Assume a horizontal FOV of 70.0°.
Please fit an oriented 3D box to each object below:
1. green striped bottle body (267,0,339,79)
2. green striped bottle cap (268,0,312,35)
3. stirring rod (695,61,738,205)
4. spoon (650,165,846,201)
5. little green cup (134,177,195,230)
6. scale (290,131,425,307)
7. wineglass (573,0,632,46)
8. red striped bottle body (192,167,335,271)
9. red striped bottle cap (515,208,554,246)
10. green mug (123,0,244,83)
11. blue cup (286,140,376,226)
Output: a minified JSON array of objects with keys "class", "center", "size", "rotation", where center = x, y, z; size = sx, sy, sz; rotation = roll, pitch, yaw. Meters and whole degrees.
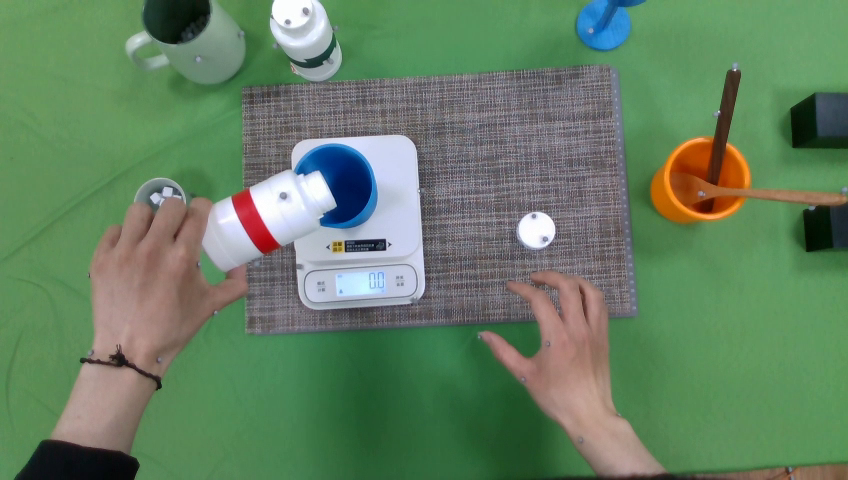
[{"class":"green striped bottle body","center":[-0.138,-0.235,0.690],"size":[0.063,0.119,0.063],"rotation":[0,83,3]},{"class":"green striped bottle cap","center":[-0.141,-0.241,0.638],"size":[0.044,0.020,0.044],"rotation":[0,83,2]},{"class":"stirring rod","center":[0.311,-0.107,0.647],"size":[0.014,0.178,0.006],"rotation":[4,43,15]},{"class":"spoon","center":[0.333,-0.056,0.641],"size":[0.022,0.192,0.041],"rotation":[9,92,-40]},{"class":"little green cup","center":[-0.303,-0.040,0.716],"size":[0.061,0.039,0.061],"rotation":[0,83,1]},{"class":"scale","center":[-0.079,-0.025,0.707],"size":[0.148,0.031,0.200],"rotation":[-4,84,2]},{"class":"wineglass","center":[0.210,-0.278,0.656],"size":[0.074,0.172,0.073],"rotation":[0,83,3]},{"class":"red striped bottle body","center":[-0.144,-0.024,0.558],"size":[0.120,0.063,0.063],"rotation":[-27,83,-4]},{"class":"red striped bottle cap","center":[0.129,-0.015,0.706],"size":[0.044,0.018,0.044],"rotation":[0,82,-2]},{"class":"green mug","center":[-0.283,-0.233,0.702],"size":[0.125,0.105,0.092],"rotation":[-25,84,0]},{"class":"blue cup","center":[-0.089,-0.053,0.645],"size":[0.092,0.100,0.092],"rotation":[0,86,2]}]
